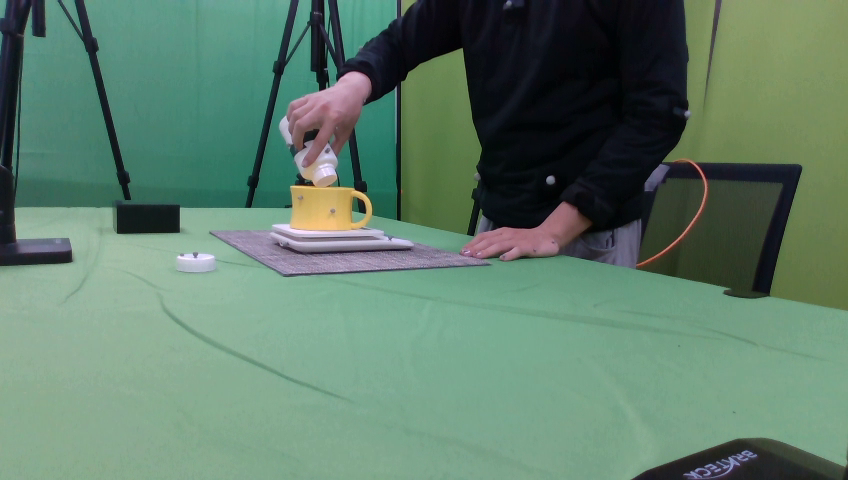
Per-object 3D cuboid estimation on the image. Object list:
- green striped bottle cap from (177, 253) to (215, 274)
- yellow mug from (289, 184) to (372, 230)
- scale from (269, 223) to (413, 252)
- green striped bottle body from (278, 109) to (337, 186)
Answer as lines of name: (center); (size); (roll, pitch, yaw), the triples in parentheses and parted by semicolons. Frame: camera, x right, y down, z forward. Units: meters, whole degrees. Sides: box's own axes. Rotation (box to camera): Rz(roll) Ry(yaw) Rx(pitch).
green striped bottle cap: (-0.279, 0.028, 0.741); (0.044, 0.020, 0.044); (5, 6, 0)
yellow mug: (-0.145, -0.052, 0.944); (0.131, 0.064, 0.100); (4, 7, 9)
scale: (-0.132, -0.007, 0.965); (0.202, 0.031, 0.148); (-2, 8, -31)
green striped bottle body: (-0.184, -0.146, 0.977); (0.063, 0.119, 0.063); (-26, -15, -7)
